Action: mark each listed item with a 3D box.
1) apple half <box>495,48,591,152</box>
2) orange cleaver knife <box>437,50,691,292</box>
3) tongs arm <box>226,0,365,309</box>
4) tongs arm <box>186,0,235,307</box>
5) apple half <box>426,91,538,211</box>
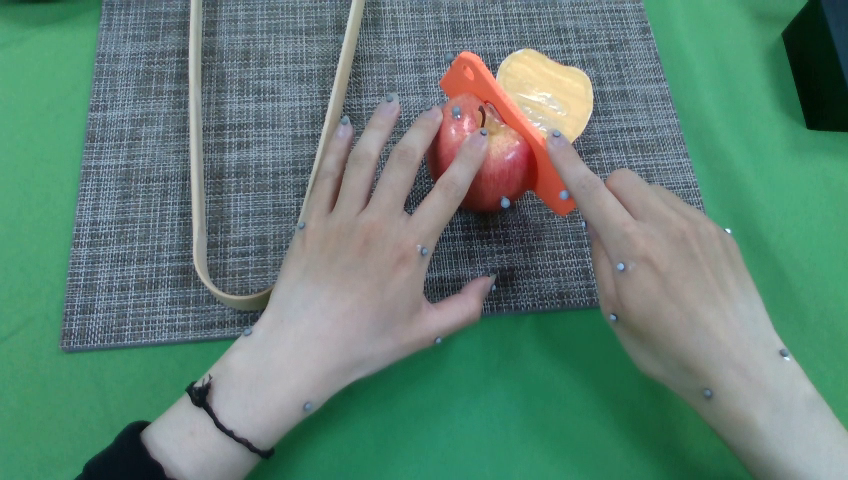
[{"bbox_3d":[0.083,-0.100,0.458,0.081,0.033,0.081,1,84,-9],"label":"apple half"},{"bbox_3d":[0.083,-0.043,0.396,0.012,0.077,0.210,-41,81,-14],"label":"orange cleaver knife"},{"bbox_3d":[-0.080,-0.133,0.463,0.051,0.027,0.382,7,68,-1],"label":"tongs arm"},{"bbox_3d":[-0.165,-0.135,0.460,0.028,0.028,0.384,-5,68,-10],"label":"tongs arm"},{"bbox_3d":[0.031,-0.052,0.413,0.053,0.075,0.080,-42,78,-14],"label":"apple half"}]
